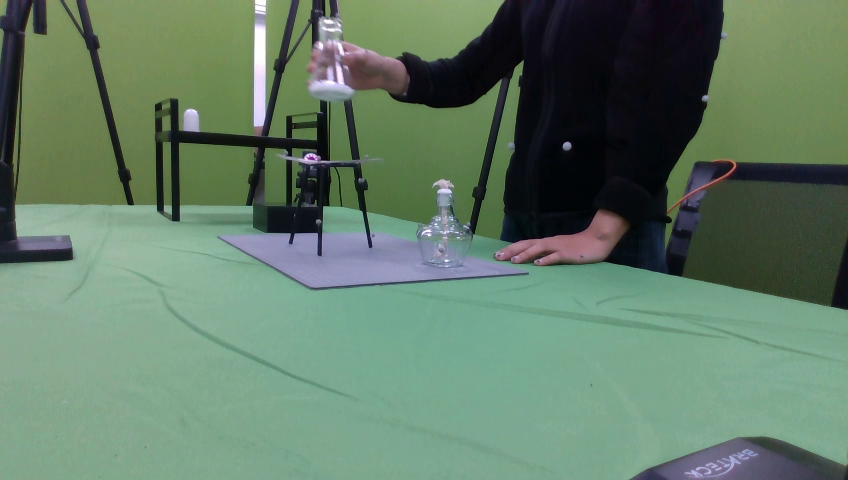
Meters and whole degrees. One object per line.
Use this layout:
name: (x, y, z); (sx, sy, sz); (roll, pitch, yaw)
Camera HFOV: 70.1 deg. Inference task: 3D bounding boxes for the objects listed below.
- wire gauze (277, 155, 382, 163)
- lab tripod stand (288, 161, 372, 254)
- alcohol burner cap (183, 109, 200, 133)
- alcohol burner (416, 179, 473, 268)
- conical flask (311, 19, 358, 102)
wire gauze: (-0.142, -0.118, 0.899); (0.122, 0.011, 0.124); (-3, 8, -36)
lab tripod stand: (-0.148, -0.052, 0.908); (0.148, 0.131, 0.148); (1, 8, 0)
alcohol burner cap: (-0.472, -0.241, 1.229); (0.034, 0.048, 0.034); (3, 8, 0)
alcohol burner: (0.028, -0.022, 0.816); (0.078, 0.119, 0.078); (0, 7, 0)
conical flask: (-0.145, -0.287, 0.969); (0.075, 0.121, 0.075); (-2, -1, 0)
